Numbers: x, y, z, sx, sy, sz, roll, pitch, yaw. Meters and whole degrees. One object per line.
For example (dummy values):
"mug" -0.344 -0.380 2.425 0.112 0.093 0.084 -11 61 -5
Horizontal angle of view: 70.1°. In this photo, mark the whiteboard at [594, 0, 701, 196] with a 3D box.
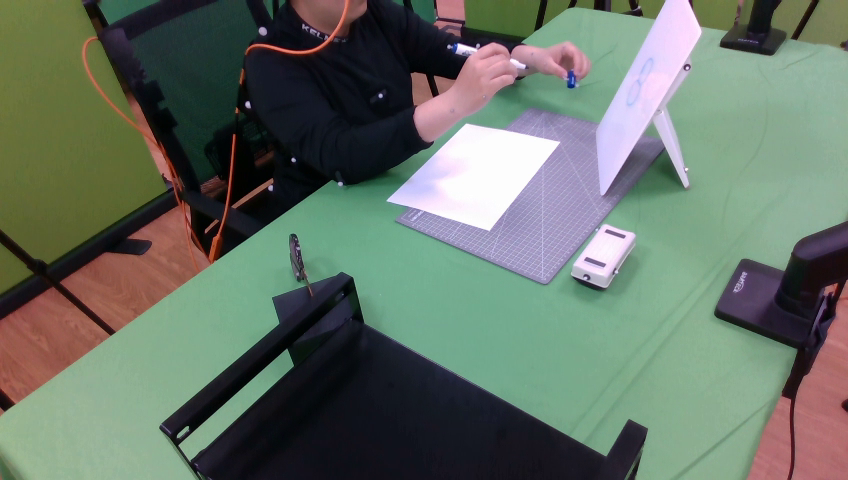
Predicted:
"whiteboard" 0.420 -0.227 1.010 0.144 0.305 0.216 18 42 -2

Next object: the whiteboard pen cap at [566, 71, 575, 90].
"whiteboard pen cap" 0.283 -0.308 1.168 0.018 0.018 0.033 2 71 11

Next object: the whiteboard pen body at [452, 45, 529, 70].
"whiteboard pen body" 0.114 -0.308 1.029 0.141 0.017 0.017 10 37 -16

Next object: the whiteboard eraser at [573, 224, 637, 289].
"whiteboard eraser" 0.267 0.025 0.891 0.055 0.042 0.113 19 47 31

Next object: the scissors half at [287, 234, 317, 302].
"scissors half" -0.179 0.040 0.885 0.013 0.040 0.173 -11 36 -20

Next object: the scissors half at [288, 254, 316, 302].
"scissors half" -0.178 0.058 0.894 0.013 0.040 0.174 -16 21 -17
